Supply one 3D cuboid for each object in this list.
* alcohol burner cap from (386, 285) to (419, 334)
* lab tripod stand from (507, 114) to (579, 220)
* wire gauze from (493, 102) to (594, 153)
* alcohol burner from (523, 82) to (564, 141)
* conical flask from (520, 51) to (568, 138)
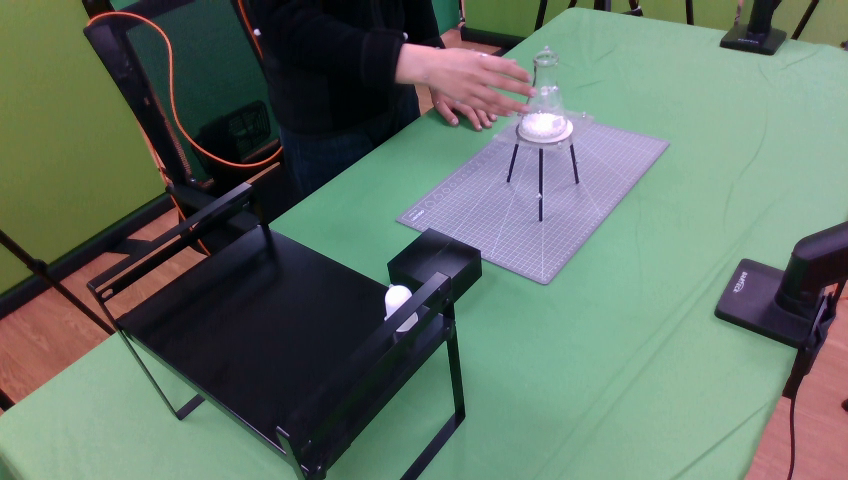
[{"bbox_3d":[-0.024,0.067,0.604,0.034,0.048,0.033,-4,39,4],"label":"alcohol burner cap"},{"bbox_3d":[0.199,-0.128,1.005,0.148,0.132,0.147,-3,42,3],"label":"lab tripod stand"},{"bbox_3d":[0.191,-0.179,0.965,0.120,0.011,0.125,18,49,29],"label":"wire gauze"},{"bbox_3d":[0.230,-0.251,1.161,0.078,0.119,0.077,-4,43,4],"label":"alcohol burner"},{"bbox_3d":[0.185,-0.223,0.926,0.075,0.122,0.075,-4,41,4],"label":"conical flask"}]
